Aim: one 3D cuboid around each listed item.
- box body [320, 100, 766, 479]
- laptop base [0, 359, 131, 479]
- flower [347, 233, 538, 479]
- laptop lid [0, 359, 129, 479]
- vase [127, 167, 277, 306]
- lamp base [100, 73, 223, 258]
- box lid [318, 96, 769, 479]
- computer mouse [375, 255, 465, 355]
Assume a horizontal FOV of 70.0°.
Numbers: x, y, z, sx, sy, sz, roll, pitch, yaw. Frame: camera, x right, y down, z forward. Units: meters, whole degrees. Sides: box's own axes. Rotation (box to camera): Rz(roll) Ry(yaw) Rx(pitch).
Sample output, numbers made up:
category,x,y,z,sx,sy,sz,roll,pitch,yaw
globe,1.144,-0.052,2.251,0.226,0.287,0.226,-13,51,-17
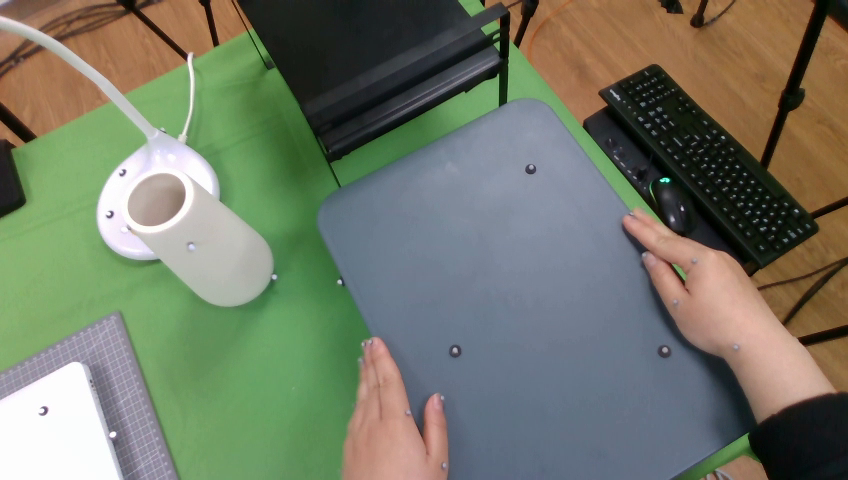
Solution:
category,x,y,z,sx,sy,sz,roll,pitch,yaw
box body,0.095,0.080,0.602,0.254,0.161,0.361,-28,67,-6
laptop base,-0.483,0.311,0.644,0.354,0.023,0.233,-29,70,-7
flower,0.033,0.138,0.630,0.044,0.038,0.359,-21,69,-51
laptop lid,-0.483,0.308,0.633,0.357,0.013,0.239,-28,69,-6
vase,-0.233,0.000,0.651,0.098,0.201,0.097,-3,65,7
lamp base,-0.344,-0.094,0.713,0.160,0.182,0.178,2,64,7
box lid,0.085,0.048,0.535,0.263,0.015,0.368,-28,67,-6
computer mouse,-0.007,0.069,0.678,0.063,0.041,0.116,-34,60,-4
